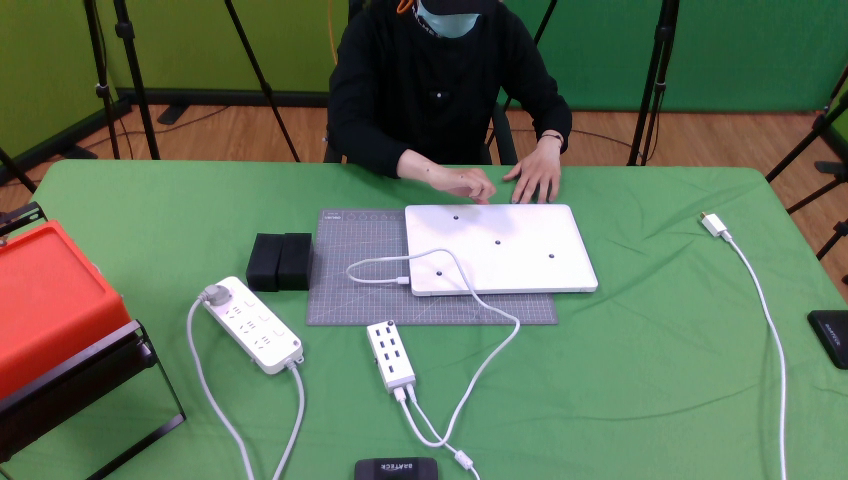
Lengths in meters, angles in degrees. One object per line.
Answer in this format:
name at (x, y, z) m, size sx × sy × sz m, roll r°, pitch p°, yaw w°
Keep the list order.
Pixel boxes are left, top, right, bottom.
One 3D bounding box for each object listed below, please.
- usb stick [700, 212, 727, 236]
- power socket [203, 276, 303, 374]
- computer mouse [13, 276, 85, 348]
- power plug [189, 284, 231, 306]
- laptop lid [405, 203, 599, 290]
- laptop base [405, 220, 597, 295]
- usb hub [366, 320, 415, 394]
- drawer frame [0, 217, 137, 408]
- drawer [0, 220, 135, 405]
usb stick at (0.606, -0.037, 1.273) m, size 0.027 × 0.021 × 0.059 m, roll -19°, pitch 57°, yaw -20°
power socket at (-0.296, 0.141, 1.034) m, size 0.072 × 0.033 × 0.225 m, roll -35°, pitch 58°, yaw -30°
computer mouse at (-0.496, 0.090, 0.804) m, size 0.063 × 0.041 × 0.116 m, roll -7°, pitch 42°, yaw -7°
power plug at (-0.367, 0.100, 1.037) m, size 0.072 × 0.053 × 0.035 m, roll -24°, pitch 54°, yaw -27°
laptop lid at (0.144, 0.007, 1.187) m, size 0.357 × 0.013 × 0.240 m, roll 0°, pitch 45°, yaw -5°
laptop base at (0.143, 0.018, 1.196) m, size 0.355 × 0.023 × 0.234 m, roll -1°, pitch 43°, yaw -6°
usb hub at (-0.056, 0.192, 1.009) m, size 0.049 × 0.025 × 0.124 m, roll -12°, pitch 49°, yaw -16°
drawer frame at (-0.523, 0.094, 0.779) m, size 0.200 × 0.083 × 0.213 m, roll 37°, pitch 55°, yaw 26°
drawer at (-0.522, 0.093, 0.782) m, size 0.193 × 0.073 × 0.211 m, roll 37°, pitch 55°, yaw 27°
